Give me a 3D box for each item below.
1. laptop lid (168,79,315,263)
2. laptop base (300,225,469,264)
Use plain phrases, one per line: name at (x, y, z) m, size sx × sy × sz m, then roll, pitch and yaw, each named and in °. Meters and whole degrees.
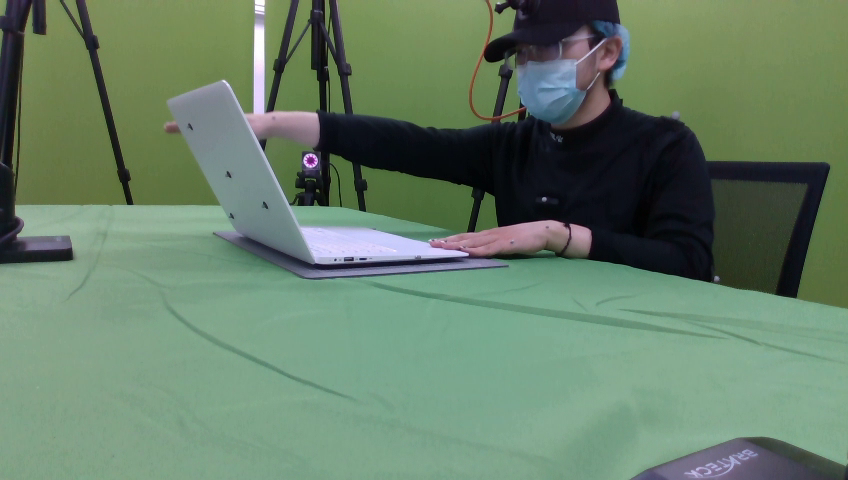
laptop lid at (-0.264, -0.093, 0.831) m, size 0.013 × 0.242 × 0.355 m, roll -33°, pitch 25°, yaw -25°
laptop base at (-0.124, 0.005, 0.936) m, size 0.237 × 0.023 × 0.352 m, roll 2°, pitch 6°, yaw -33°
